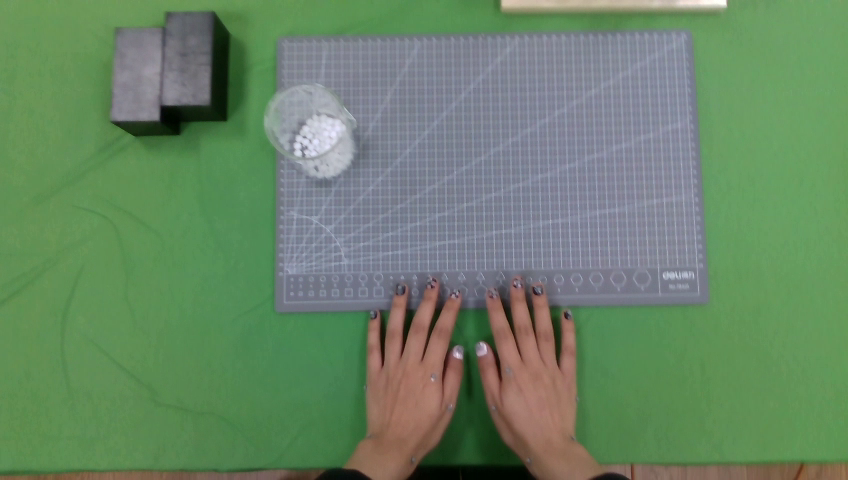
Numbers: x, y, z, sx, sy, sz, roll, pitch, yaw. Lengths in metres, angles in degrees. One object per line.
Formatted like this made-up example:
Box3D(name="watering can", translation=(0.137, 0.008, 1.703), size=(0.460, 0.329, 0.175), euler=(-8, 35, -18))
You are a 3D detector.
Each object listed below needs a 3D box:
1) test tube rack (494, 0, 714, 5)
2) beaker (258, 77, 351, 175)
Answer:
Box3D(name="test tube rack", translation=(0.197, -0.296, 0.623), size=(0.242, 0.085, 0.066), euler=(-1, 84, 0))
Box3D(name="beaker", translation=(-0.109, -0.107, 0.597), size=(0.084, 0.100, 0.074), euler=(-1, 84, 0))
